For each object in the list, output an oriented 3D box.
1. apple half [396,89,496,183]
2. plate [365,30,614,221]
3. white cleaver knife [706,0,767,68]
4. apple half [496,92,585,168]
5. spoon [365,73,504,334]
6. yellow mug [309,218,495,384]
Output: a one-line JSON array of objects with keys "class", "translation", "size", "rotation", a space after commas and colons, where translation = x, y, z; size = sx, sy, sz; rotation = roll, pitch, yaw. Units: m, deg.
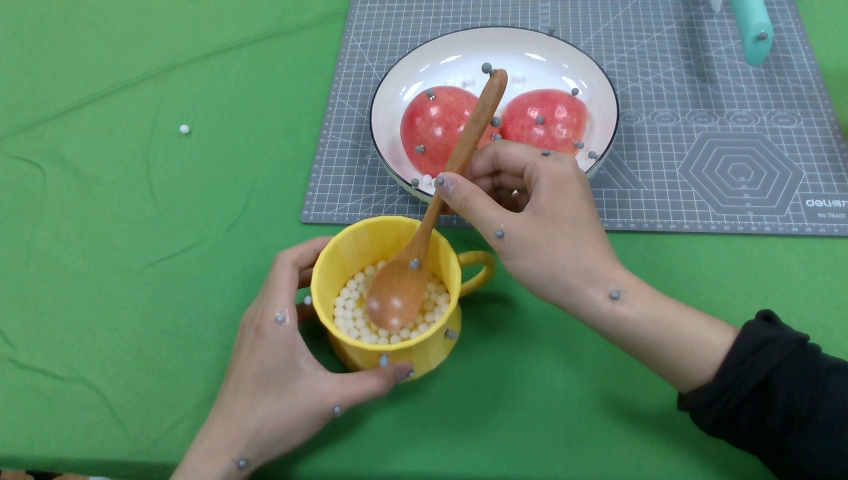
[{"class": "apple half", "translation": [0.016, -0.094, 0.503], "size": [0.081, 0.054, 0.074], "rotation": [-36, 59, -16]}, {"class": "plate", "translation": [0.054, -0.099, 0.522], "size": [0.209, 0.038, 0.207], "rotation": [-2, 58, 4]}, {"class": "white cleaver knife", "translation": [0.285, -0.258, 0.585], "size": [0.021, 0.066, 0.284], "rotation": [0, 54, 11]}, {"class": "apple half", "translation": [0.098, -0.101, 0.511], "size": [0.081, 0.033, 0.080], "rotation": [-2, 60, 4]}, {"class": "spoon", "translation": [0.007, -0.017, 0.396], "size": [0.041, 0.194, 0.021], "rotation": [33, 28, 14]}, {"class": "yellow mug", "translation": [-0.011, 0.038, 0.425], "size": [0.131, 0.064, 0.099], "rotation": [-18, 62, -10]}]
